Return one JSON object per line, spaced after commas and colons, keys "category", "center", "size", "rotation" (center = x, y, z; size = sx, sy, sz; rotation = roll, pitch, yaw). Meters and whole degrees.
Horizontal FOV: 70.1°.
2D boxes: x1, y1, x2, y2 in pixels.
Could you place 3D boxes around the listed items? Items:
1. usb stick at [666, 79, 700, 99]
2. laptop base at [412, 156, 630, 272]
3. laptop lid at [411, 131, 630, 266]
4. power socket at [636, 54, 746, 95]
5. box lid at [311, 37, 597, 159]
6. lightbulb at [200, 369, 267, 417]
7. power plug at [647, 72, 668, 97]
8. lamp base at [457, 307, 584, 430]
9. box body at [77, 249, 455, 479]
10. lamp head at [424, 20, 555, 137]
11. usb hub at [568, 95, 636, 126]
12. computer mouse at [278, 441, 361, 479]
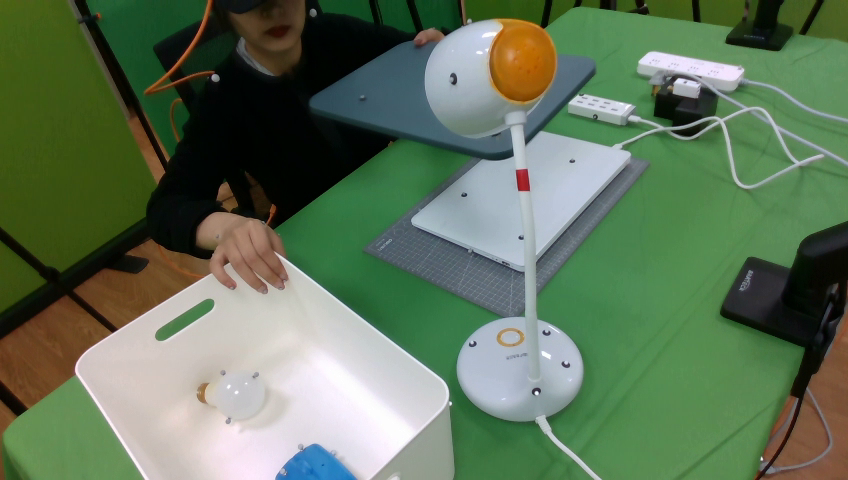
{"category": "usb stick", "center": [0.492, -0.288, 1.152], "size": [0.058, 0.027, 0.021], "rotation": [20, 51, 34]}
{"category": "laptop base", "center": [0.176, -0.083, 1.055], "size": [0.233, 0.023, 0.355], "rotation": [21, 48, 36]}
{"category": "laptop lid", "center": [0.172, -0.093, 1.049], "size": [0.239, 0.013, 0.358], "rotation": [23, 49, 36]}
{"category": "power socket", "center": [0.564, -0.357, 1.293], "size": [0.225, 0.033, 0.072], "rotation": [24, 51, 33]}
{"category": "box lid", "center": [0.038, -0.223, 0.890], "size": [0.368, 0.015, 0.264], "rotation": [20, 50, 33]}
{"category": "lightbulb", "center": [-0.249, 0.196, 0.775], "size": [0.107, 0.060, 0.059], "rotation": [-9, 35, 34]}
{"category": "power plug", "center": [0.494, -0.321, 1.260], "size": [0.073, 0.052, 0.035], "rotation": [1, 21, -40]}
{"category": "lamp base", "center": [0.116, 0.108, 0.713], "size": [0.161, 0.181, 0.178], "rotation": [-16, 43, -8]}
{"category": "box body", "center": [-0.168, 0.198, 0.675], "size": [0.255, 0.161, 0.361], "rotation": [-36, 47, -28]}
{"category": "lamp head", "center": [0.069, -0.153, 0.572], "size": [0.113, 0.112, 0.122], "rotation": [-21, 16, -14]}
{"category": "usb hub", "center": [0.360, -0.264, 1.228], "size": [0.124, 0.025, 0.049], "rotation": [24, 49, 34]}
{"category": "computer mouse", "center": [-0.112, 0.269, 0.666], "size": [0.063, 0.041, 0.116], "rotation": [-38, 43, -27]}
